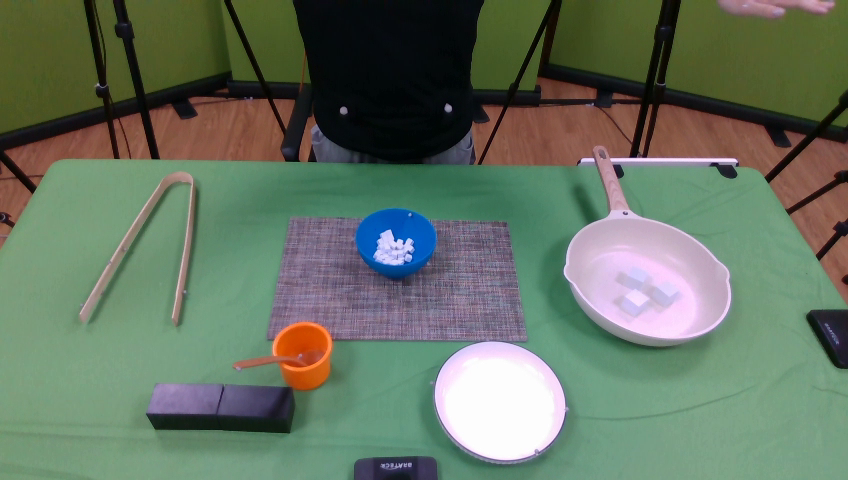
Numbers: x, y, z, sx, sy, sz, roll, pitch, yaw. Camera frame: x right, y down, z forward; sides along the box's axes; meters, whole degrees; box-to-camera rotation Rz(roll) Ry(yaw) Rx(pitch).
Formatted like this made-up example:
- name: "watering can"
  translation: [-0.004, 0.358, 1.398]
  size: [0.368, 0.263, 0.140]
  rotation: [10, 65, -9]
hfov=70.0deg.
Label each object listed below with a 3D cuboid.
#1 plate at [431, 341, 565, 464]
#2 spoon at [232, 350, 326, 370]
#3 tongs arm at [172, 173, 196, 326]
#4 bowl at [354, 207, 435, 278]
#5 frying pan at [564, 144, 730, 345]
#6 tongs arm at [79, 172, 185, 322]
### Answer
- name: "plate"
  translation: [0.114, 0.255, 0.952]
  size: [0.208, 0.039, 0.206]
  rotation: [3, 46, -2]
- name: "spoon"
  translation: [-0.216, 0.182, 0.919]
  size: [0.041, 0.194, 0.021]
  rotation: [43, 102, 27]
- name: "tongs arm"
  translation: [-0.459, 0.003, 1.156]
  size: [0.028, 0.028, 0.385]
  rotation: [-7, 47, -8]
- name: "bowl"
  translation: [-0.056, 0.018, 1.132]
  size: [0.151, 0.077, 0.150]
  rotation: [2, 46, -2]
- name: "frying pan"
  translation: [0.396, -0.008, 1.179]
  size: [0.307, 0.103, 0.484]
  rotation: [0, 55, -5]
- name: "tongs arm"
  translation: [-0.541, -0.002, 1.147]
  size: [0.051, 0.026, 0.382]
  rotation: [5, 45, -1]
